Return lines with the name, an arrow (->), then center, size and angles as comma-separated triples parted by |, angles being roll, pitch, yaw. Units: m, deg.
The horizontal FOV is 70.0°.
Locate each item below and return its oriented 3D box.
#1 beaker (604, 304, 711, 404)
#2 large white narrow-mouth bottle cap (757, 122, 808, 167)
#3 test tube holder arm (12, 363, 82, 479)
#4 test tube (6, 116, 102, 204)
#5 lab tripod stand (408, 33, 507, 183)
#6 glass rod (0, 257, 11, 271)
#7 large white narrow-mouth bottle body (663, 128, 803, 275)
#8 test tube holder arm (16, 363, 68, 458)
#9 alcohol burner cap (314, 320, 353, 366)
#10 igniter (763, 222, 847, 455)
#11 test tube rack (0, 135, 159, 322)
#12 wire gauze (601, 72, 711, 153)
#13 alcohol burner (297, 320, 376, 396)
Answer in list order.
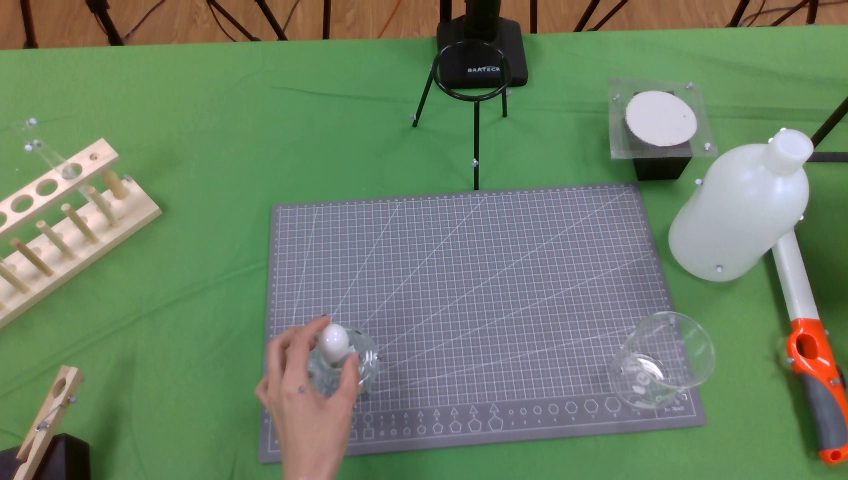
beaker -> 0.221, 0.116, 0.595 | 0.084, 0.101, 0.073 | 1, 61, 1
large white narrow-mouth bottle cap -> 0.328, -0.088, 0.556 | 0.038, 0.024, 0.037 | 0, 62, 0
test tube holder arm -> -0.351, 0.197, 0.539 | 0.013, 0.015, 0.177 | 5, 61, 11
test tube -> -0.388, -0.080, 0.644 | 0.017, 0.151, 0.017 | -1, 64, 3
lab tripod stand -> 0.049, -0.163, 0.725 | 0.148, 0.132, 0.147 | 1, 63, -2
glass rod -> -0.457, -0.025, 0.595 | 0.008, 0.201, 0.008 | 2, 53, -2
large white narrow-mouth bottle body -> 0.328, -0.046, 0.631 | 0.102, 0.196, 0.101 | 0, 61, 0
test tube holder arm -> -0.349, 0.157, 0.561 | 0.010, 0.015, 0.087 | 5, 61, 11
alcohol burner cap -> -0.085, 0.092, 0.554 | 0.034, 0.048, 0.033 | -1, 58, 1
igniter -> 0.408, 0.090, 0.656 | 0.057, 0.025, 0.274 | 7, 61, -9
test tube rack -> -0.424, -0.002, 0.658 | 0.066, 0.086, 0.242 | 42, 69, 19
wire gauze -> 0.279, -0.156, 0.739 | 0.121, 0.011, 0.124 | 3, 62, 1
alcohol burner -> -0.086, 0.108, 0.586 | 0.078, 0.120, 0.077 | 1, 60, -2
